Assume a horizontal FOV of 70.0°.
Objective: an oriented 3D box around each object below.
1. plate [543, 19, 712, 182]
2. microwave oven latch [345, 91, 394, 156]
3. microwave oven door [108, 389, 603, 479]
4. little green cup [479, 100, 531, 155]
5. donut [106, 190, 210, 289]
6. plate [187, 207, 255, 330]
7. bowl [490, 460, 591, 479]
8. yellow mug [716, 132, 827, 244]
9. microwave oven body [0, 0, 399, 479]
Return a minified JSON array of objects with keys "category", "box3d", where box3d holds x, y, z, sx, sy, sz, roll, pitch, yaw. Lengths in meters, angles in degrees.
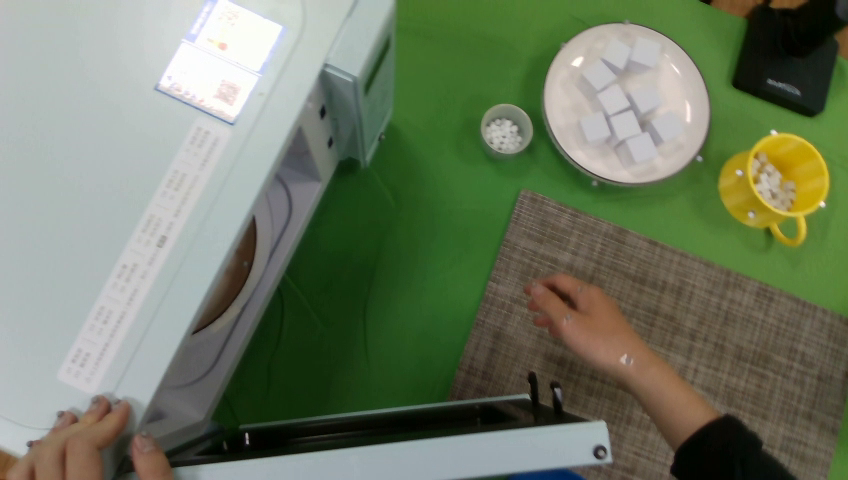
[{"category":"plate","box3d":[0.247,-0.168,0.748,0.208,0.039,0.207,1,81,-4]},{"category":"microwave oven latch","box3d":[-0.062,-0.139,0.698,0.030,0.029,0.079,29,81,0]},{"category":"microwave oven door","box3d":[-0.051,0.178,0.547,0.356,0.244,0.039,-5,80,-5]},{"category":"little green cup","box3d":[0.095,-0.132,0.727,0.061,0.038,0.061,1,82,-5]},{"category":"donut","box3d":[-0.262,-0.001,0.602,0.099,0.048,0.099,0,85,-4]},{"category":"plate","box3d":[-0.275,-0.004,0.612,0.209,0.038,0.208,1,84,-7]},{"category":"bowl","box3d":[0.116,0.302,0.640,0.151,0.077,0.151,1,81,-5]},{"category":"yellow mug","box3d":[0.422,-0.058,0.730,0.100,0.064,0.130,-15,83,-7]},{"category":"microwave oven body","box3d":[-0.263,-0.059,0.572,0.326,0.260,0.440,25,80,-1]}]
